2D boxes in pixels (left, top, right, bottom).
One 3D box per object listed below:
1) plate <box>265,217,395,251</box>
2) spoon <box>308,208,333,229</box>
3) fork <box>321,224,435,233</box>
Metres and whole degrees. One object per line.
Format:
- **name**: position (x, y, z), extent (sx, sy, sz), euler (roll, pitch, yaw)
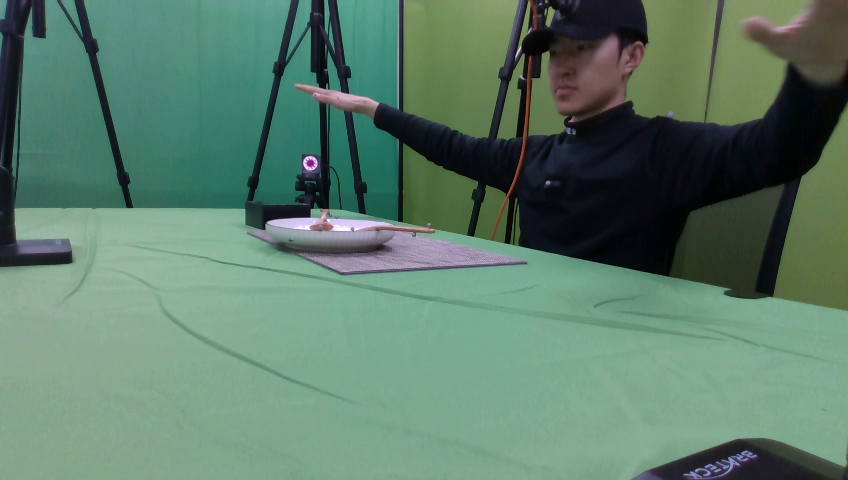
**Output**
- **plate**: position (-0.150, -0.011, 0.978), extent (0.209, 0.038, 0.209), euler (2, 7, 0)
- **spoon**: position (-0.178, -0.041, 1.072), extent (0.042, 0.021, 0.193), euler (-2, 15, -5)
- **fork**: position (-0.076, -0.015, 0.915), extent (0.206, 0.018, 0.028), euler (-3, 3, 27)
